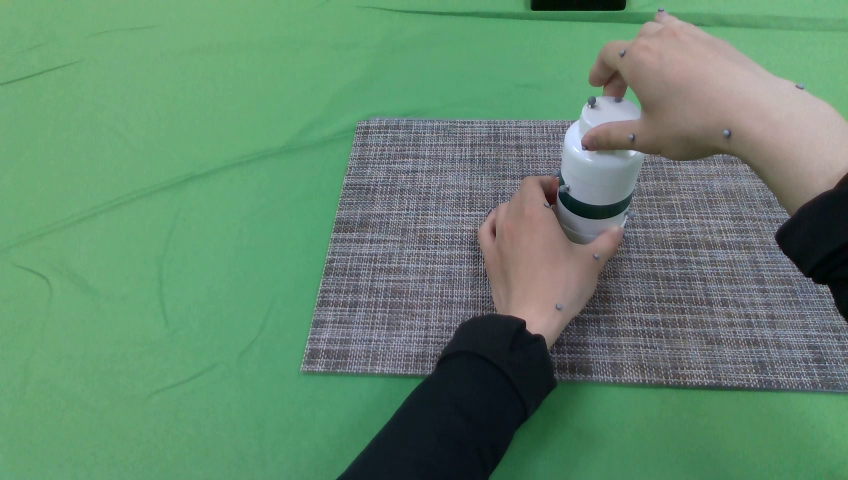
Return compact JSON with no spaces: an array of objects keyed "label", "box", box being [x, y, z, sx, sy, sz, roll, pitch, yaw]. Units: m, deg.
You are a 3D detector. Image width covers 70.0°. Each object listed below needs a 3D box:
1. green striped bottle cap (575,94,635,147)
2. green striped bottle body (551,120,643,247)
[{"label":"green striped bottle cap","box":[0.138,-0.089,0.461,0.044,0.020,0.044,-3,63,6]},{"label":"green striped bottle body","box":[0.141,-0.055,0.499,0.063,0.120,0.062,-2,50,3]}]
